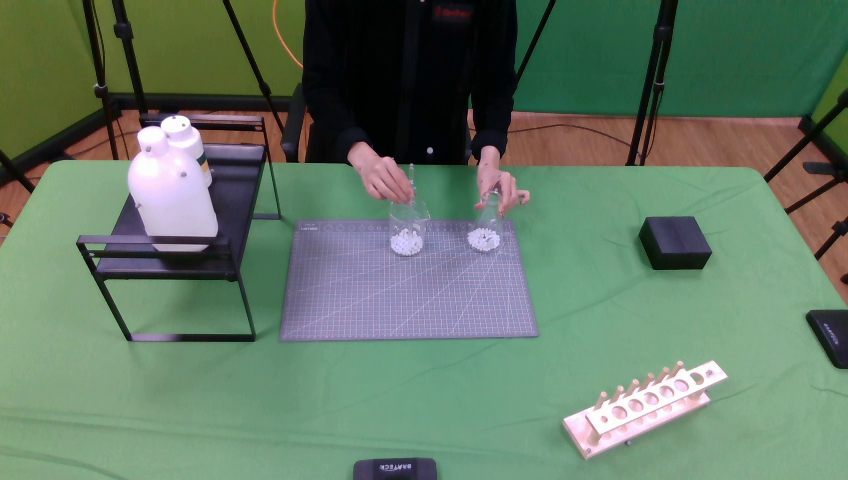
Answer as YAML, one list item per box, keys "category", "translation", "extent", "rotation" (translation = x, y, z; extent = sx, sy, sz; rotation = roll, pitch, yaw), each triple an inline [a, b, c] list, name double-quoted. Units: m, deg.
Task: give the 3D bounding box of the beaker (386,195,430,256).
- category: "beaker"
  translation: [-0.031, -0.024, 1.161]
  extent: [0.084, 0.101, 0.073]
  rotation: [18, 48, 12]

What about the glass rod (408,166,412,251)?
- category: "glass rod"
  translation: [-0.025, -0.052, 1.107]
  extent: [0.008, 0.201, 0.008]
  rotation: [1, 42, -1]

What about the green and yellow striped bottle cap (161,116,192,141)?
- category: "green and yellow striped bottle cap"
  translation: [-0.387, -0.174, 0.946]
  extent: [0.045, 0.020, 0.045]
  rotation: [3, 44, -3]

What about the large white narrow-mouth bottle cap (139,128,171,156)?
- category: "large white narrow-mouth bottle cap"
  translation: [-0.358, -0.131, 0.808]
  extent: [0.038, 0.024, 0.037]
  rotation: [3, 47, -3]

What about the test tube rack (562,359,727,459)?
- category: "test tube rack"
  translation: [0.341, 0.247, 0.940]
  extent: [0.243, 0.085, 0.066]
  rotation: [-16, 49, -18]

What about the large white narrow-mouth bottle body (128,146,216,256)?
- category: "large white narrow-mouth bottle body"
  translation: [-0.366, -0.073, 0.872]
  extent: [0.102, 0.195, 0.101]
  rotation: [3, 47, -3]

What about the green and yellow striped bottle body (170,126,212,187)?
- category: "green and yellow striped bottle body"
  translation: [-0.389, -0.139, 0.984]
  extent: [0.063, 0.120, 0.063]
  rotation: [2, 46, -2]

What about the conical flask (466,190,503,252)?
- category: "conical flask"
  translation: [0.123, -0.040, 1.172]
  extent: [0.075, 0.122, 0.075]
  rotation: [2, 46, -2]
